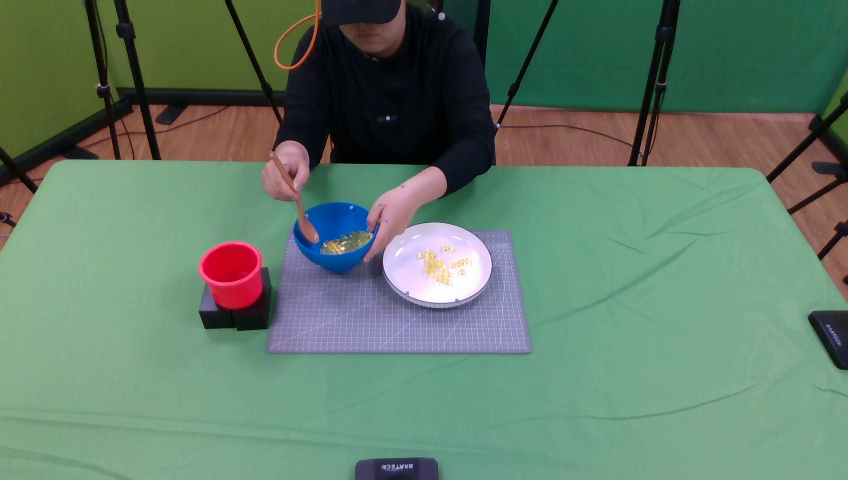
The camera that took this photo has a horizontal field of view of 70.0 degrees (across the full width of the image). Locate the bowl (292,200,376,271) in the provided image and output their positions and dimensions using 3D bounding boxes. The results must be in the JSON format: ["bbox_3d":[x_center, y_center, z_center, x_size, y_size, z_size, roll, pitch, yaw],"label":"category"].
[{"bbox_3d":[-0.160,0.004,1.104,0.151,0.077,0.150,1,42,-1],"label":"bowl"}]

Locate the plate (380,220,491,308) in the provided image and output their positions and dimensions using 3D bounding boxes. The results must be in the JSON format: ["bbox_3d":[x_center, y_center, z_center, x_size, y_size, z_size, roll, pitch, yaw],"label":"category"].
[{"bbox_3d":[0.021,0.048,1.137,0.208,0.039,0.206,2,46,-2],"label":"plate"}]

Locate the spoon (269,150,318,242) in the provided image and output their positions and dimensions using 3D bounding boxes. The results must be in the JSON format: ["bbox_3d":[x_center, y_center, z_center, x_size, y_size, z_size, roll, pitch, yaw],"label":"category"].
[{"bbox_3d":[-0.221,-0.072,1.035,0.021,0.195,0.041,-6,39,11],"label":"spoon"}]
